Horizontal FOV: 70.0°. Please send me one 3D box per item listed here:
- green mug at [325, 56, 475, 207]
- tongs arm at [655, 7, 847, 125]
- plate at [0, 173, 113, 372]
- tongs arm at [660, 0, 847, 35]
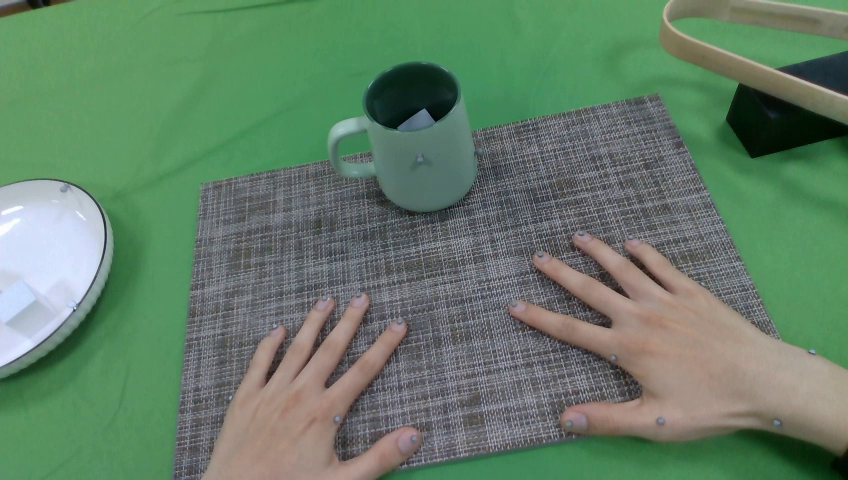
[{"bbox_3d":[-0.021,-0.086,0.515,0.125,0.106,0.091,-12,57,1],"label":"green mug"},{"bbox_3d":[0.347,-0.095,0.457,0.384,0.028,0.028,33,75,25],"label":"tongs arm"},{"bbox_3d":[-0.376,0.032,0.541,0.209,0.038,0.207,-4,57,6],"label":"plate"},{"bbox_3d":[0.388,-0.155,0.486,0.382,0.027,0.050,21,67,20],"label":"tongs arm"}]
